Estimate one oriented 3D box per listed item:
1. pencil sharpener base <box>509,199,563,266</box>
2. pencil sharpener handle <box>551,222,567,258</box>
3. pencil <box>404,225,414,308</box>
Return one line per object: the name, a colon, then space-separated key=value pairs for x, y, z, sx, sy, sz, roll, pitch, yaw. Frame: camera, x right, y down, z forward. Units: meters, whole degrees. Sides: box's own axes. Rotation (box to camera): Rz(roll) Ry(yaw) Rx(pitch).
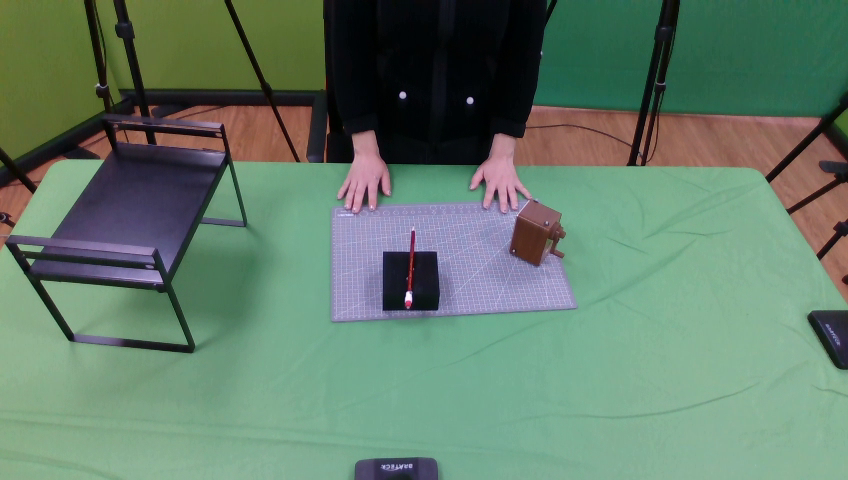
pencil sharpener base: x=0.216 y=-0.012 z=1.160 sx=0.076 sy=0.107 sz=0.061 roll=27 pitch=50 yaw=21
pencil sharpener handle: x=0.258 y=0.002 z=1.132 sx=0.030 sy=0.068 sz=0.036 roll=27 pitch=42 yaw=21
pencil: x=-0.025 y=0.042 z=1.088 sx=0.012 sy=0.012 sz=0.193 roll=3 pitch=47 yaw=-1
